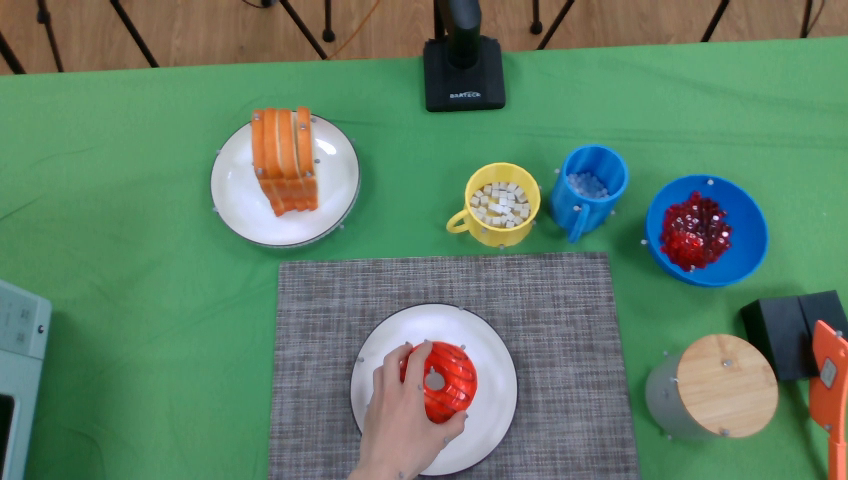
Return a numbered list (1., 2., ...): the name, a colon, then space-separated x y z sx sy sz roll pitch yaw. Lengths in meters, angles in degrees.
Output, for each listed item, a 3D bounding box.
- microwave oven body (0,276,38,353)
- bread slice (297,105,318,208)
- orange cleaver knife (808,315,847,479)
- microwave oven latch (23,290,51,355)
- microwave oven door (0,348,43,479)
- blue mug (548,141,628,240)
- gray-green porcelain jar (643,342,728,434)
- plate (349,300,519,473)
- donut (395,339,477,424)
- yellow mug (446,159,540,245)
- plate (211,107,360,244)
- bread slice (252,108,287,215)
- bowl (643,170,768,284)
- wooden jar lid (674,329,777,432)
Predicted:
1. microwave oven body: -0.646 0.245 0.625 0.326 0.261 0.438 -2 71 0
2. bread slice: -0.154 -0.114 0.805 0.019 0.132 0.104 -4 72 -8
3. orange cleaver knife: 0.481 0.196 0.719 0.012 0.077 0.212 -6 101 0
4. microwave oven latch: -0.501 0.105 0.773 0.030 0.029 0.078 1 71 1
5. microwave oven door: -0.499 0.278 0.606 0.039 0.245 0.353 -3 70 1
6. blue mug: 0.210 -0.056 0.800 0.082 0.106 0.116 16 72 7
7. gray-green porcelain jar: 0.322 0.172 0.707 0.106 0.127 0.105 0 71 1
8. plate: 0.013 0.179 0.754 0.209 0.038 0.207 0 71 1
9. donut: 0.015 0.166 0.716 0.099 0.048 0.098 -1 69 4
10. yellow mug: 0.089 -0.044 0.819 0.131 0.064 0.099 -24 71 -6
11. plate: -0.192 -0.088 0.855 0.208 0.039 0.206 0 71 1
12. bread slice: -0.204 -0.111 0.804 0.018 0.135 0.106 -5 67 -2
13. bowl: 0.355 -0.007 0.794 0.151 0.077 0.150 0 71 2
14. wooden jar lid: 0.320 0.150 0.649 0.108 0.021 0.107 0 72 -1
